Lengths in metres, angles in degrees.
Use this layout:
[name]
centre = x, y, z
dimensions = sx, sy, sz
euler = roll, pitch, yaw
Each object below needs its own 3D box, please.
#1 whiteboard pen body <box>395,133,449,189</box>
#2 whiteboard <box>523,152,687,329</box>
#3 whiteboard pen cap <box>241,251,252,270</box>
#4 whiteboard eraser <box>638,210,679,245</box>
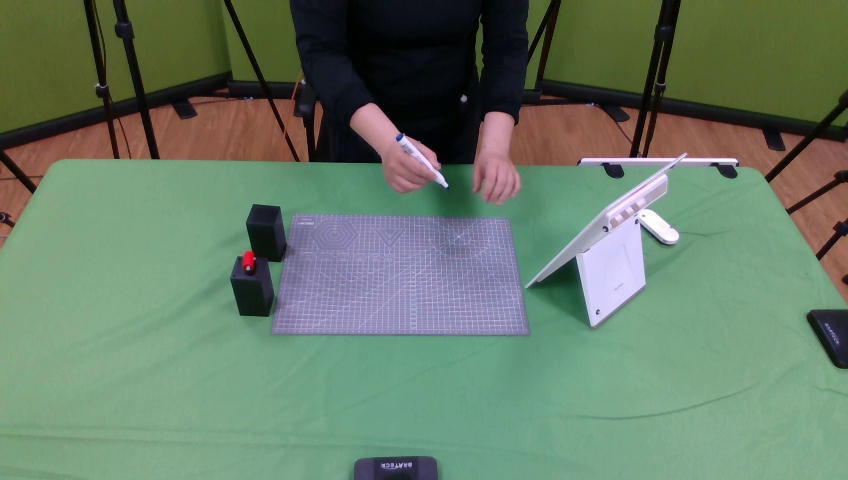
[whiteboard pen body]
centre = -0.001, -0.134, 1.048
dimensions = 0.017, 0.141, 0.016
euler = -32, 34, 24
[whiteboard]
centre = 0.346, 0.024, 1.047
dimensions = 0.217, 0.306, 0.143
euler = -30, 74, -29
[whiteboard pen cap]
centre = -0.294, 0.033, 1.005
dimensions = 0.017, 0.017, 0.032
euler = -3, 45, -7
[whiteboard eraser]
centre = 0.485, -0.027, 1.260
dimensions = 0.041, 0.019, 0.100
euler = -21, 50, -21
